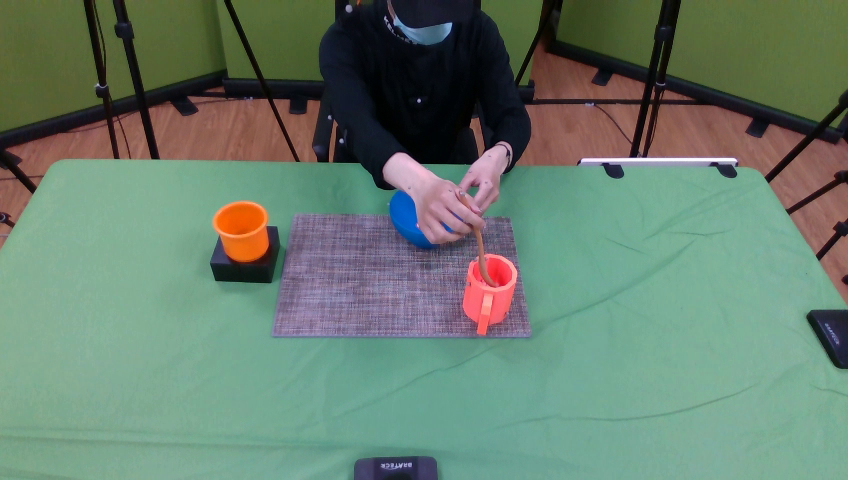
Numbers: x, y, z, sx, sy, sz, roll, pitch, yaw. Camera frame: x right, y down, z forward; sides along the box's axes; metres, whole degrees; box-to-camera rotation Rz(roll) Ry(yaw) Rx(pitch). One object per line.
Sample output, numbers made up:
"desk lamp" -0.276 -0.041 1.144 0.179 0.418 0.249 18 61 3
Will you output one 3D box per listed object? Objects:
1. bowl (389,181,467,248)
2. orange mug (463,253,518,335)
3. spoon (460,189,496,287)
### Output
"bowl" 0.006 -0.038 1.189 0.151 0.077 0.150 2 46 -2
"orange mug" 0.112 0.098 1.050 0.083 0.101 0.125 10 41 6
"spoon" 0.089 0.000 0.990 0.021 0.194 0.041 -12 29 9
